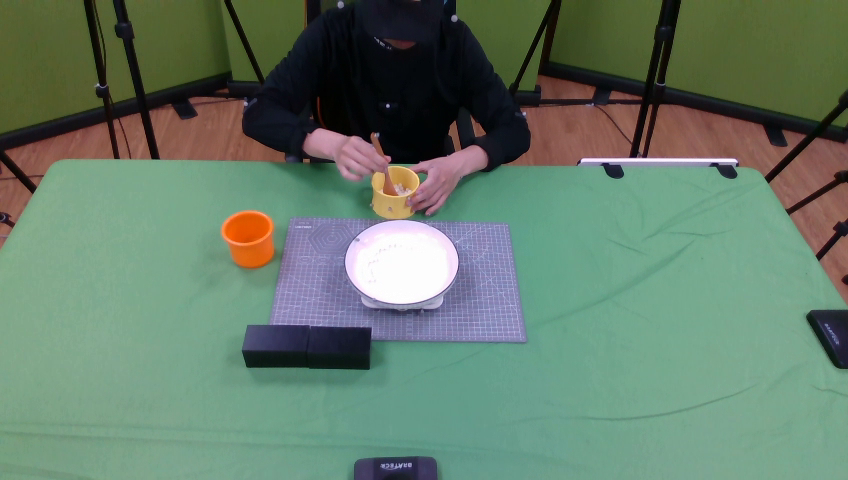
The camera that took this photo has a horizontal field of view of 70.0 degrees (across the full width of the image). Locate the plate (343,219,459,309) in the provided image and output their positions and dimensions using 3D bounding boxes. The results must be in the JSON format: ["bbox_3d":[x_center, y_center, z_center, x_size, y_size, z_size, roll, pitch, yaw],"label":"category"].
[{"bbox_3d":[-0.041,0.046,1.094,0.209,0.038,0.208,2,46,-2],"label":"plate"}]

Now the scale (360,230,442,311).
[{"bbox_3d":[-0.042,0.047,1.138,0.149,0.032,0.199,2,46,-3],"label":"scale"}]

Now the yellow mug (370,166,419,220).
[{"bbox_3d":[-0.072,-0.108,1.267,0.100,0.064,0.130,-29,54,-30],"label":"yellow mug"}]

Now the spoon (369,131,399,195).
[{"bbox_3d":[-0.079,-0.140,1.191,0.041,0.195,0.021,18,54,28],"label":"spoon"}]
